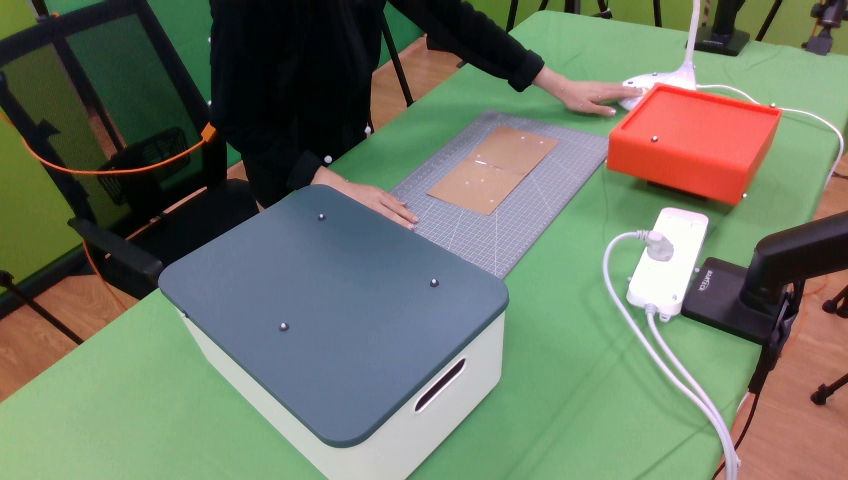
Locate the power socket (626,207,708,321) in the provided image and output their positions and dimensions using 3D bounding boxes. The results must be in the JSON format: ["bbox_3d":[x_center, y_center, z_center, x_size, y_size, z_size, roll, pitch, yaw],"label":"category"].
[{"bbox_3d":[0.360,0.026,0.886,0.072,0.033,0.227,16,46,26],"label":"power socket"}]

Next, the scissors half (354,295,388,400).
[{"bbox_3d":[-0.068,0.142,0.818,0.040,0.013,0.174,-21,44,1],"label":"scissors half"}]

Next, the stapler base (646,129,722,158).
[{"bbox_3d":[0.439,-0.167,1.023,0.131,0.024,0.041,-17,25,-15],"label":"stapler base"}]

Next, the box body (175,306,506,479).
[{"bbox_3d":[-0.105,0.111,0.752,0.361,0.161,0.255,28,52,34],"label":"box body"}]

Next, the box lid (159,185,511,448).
[{"bbox_3d":[-0.114,0.054,0.705,0.368,0.015,0.264,28,51,34],"label":"box lid"}]

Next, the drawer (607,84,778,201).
[{"bbox_3d":[0.438,-0.167,0.996,0.210,0.073,0.195,23,48,30],"label":"drawer"}]

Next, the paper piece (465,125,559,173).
[{"bbox_3d":[0.172,-0.177,1.168,0.137,0.009,0.136,21,44,30],"label":"paper piece"}]

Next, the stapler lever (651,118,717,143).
[{"bbox_3d":[0.436,-0.192,1.014,0.118,0.040,0.026,-15,24,-16],"label":"stapler lever"}]

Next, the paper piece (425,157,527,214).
[{"bbox_3d":[0.095,-0.103,1.089,0.134,0.004,0.136,22,48,30],"label":"paper piece"}]

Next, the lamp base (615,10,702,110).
[{"bbox_3d":[0.484,-0.364,1.211,0.180,0.181,0.159,-15,41,-14],"label":"lamp base"}]

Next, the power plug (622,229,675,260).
[{"bbox_3d":[0.327,0.007,0.878,0.072,0.053,0.035,25,51,33],"label":"power plug"}]

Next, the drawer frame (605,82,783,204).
[{"bbox_3d":[0.441,-0.167,0.995,0.212,0.083,0.202,23,48,30],"label":"drawer frame"}]

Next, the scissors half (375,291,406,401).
[{"bbox_3d":[-0.048,0.138,0.816,0.040,0.013,0.174,-5,46,9],"label":"scissors half"}]
